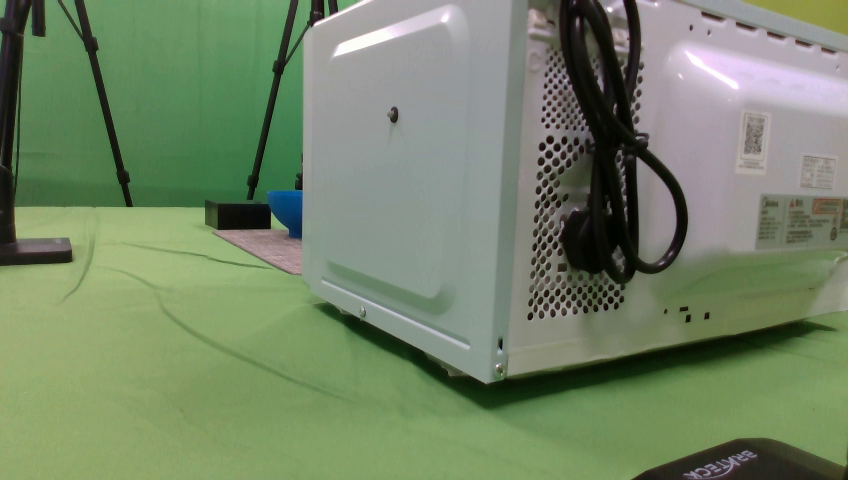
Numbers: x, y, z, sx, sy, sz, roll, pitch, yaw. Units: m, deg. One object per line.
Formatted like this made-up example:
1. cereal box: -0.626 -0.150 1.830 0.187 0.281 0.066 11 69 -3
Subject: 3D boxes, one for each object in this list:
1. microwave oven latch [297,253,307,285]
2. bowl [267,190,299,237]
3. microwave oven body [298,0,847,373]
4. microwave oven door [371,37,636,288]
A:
1. microwave oven latch: -0.082 0.027 0.583 0.079 0.029 0.030 -1 7 -33
2. bowl: -0.202 -0.046 1.070 0.151 0.077 0.151 3 7 0
3. microwave oven body: 0.151 -0.055 0.543 0.444 0.260 0.324 -1 7 -33
4. microwave oven door: 0.109 -0.080 0.687 0.358 0.243 0.039 -2 9 -33
